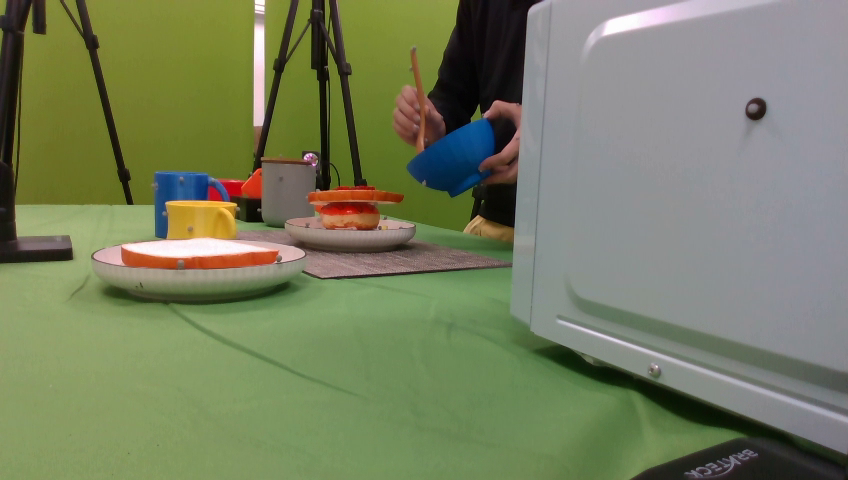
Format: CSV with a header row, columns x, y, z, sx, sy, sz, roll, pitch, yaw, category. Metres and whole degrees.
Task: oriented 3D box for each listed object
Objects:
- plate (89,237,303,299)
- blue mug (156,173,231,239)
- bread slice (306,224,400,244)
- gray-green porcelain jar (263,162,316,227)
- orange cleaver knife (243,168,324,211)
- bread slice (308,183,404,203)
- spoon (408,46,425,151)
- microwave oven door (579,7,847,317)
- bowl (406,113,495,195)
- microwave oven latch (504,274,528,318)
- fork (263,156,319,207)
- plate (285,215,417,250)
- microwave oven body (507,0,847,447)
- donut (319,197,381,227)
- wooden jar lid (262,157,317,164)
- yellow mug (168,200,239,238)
x,y,z,sx,sy,sz,roll,pitch,yaw,category
-0.233,0.029,0.637,0.208,0.039,0.207,2,7,0,plate
-0.381,-0.057,1.004,0.117,0.106,0.082,0,8,-12,blue mug
-0.103,-0.010,0.961,0.131,0.019,0.105,4,9,24,bread slice
-0.271,-0.092,1.217,0.106,0.126,0.106,2,7,0,gray-green porcelain jar
-0.300,-0.089,1.351,0.212,0.077,0.012,29,-9,-34,orange cleaver knife
-0.114,-0.072,0.954,0.134,0.018,0.107,-4,-2,21,bread slice
-0.006,-0.197,0.926,0.022,0.193,0.041,-6,9,-5,spoon
0.294,-0.067,0.570,0.358,0.243,0.039,-3,9,-31,microwave oven door
0.055,-0.122,0.937,0.151,0.077,0.151,-31,-2,-1,bowl
0.100,0.041,0.471,0.079,0.029,0.030,-1,7,-28,microwave oven latch
-0.331,-0.144,1.505,0.207,0.018,0.028,-42,-20,22,fork
-0.116,-0.014,0.964,0.209,0.038,0.209,2,7,0,plate
0.331,-0.042,0.425,0.444,0.260,0.324,-2,8,-31,microwave oven body
-0.118,-0.042,0.965,0.099,0.048,0.099,-9,-7,-1,donut
-0.269,-0.154,1.208,0.108,0.020,0.108,3,4,0,wooden jar lid
-0.320,-0.023,0.904,0.130,0.064,0.100,9,11,36,yellow mug
